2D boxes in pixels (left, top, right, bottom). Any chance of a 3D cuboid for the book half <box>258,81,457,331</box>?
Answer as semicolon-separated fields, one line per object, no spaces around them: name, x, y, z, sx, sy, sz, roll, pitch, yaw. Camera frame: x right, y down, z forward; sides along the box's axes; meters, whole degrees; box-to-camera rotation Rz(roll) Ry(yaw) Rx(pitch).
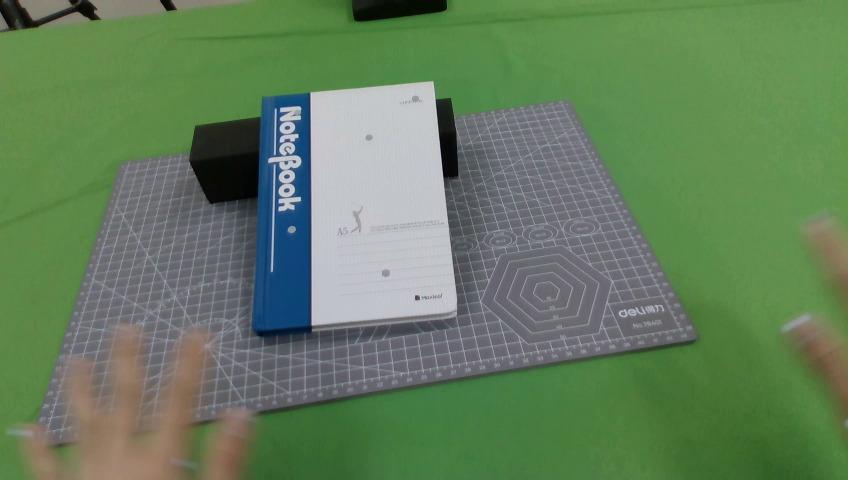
book half;-0.055;-0.035;0.473;0.143;0.007;0.208;-5;65;1
